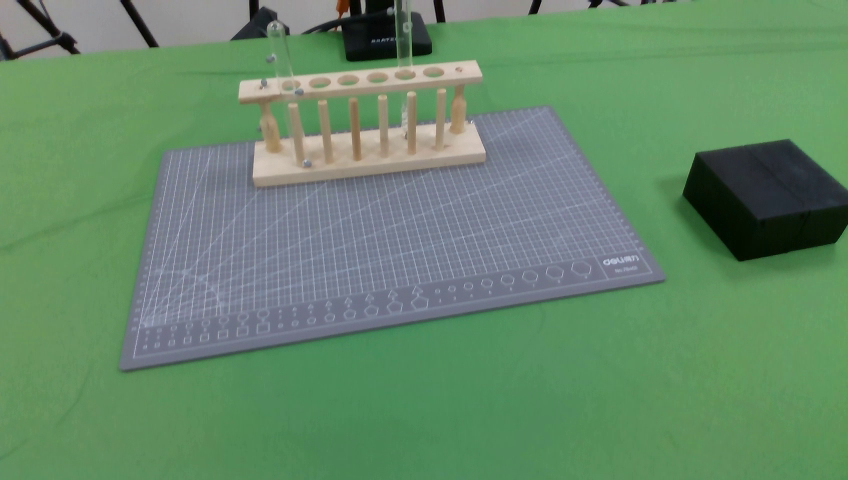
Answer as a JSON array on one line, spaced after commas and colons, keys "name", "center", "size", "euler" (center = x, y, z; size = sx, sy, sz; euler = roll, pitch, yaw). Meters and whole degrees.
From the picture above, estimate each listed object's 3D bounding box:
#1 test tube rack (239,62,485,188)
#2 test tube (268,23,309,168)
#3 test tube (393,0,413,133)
[{"name": "test tube rack", "center": [-0.060, -0.121, 0.631], "size": [0.243, 0.086, 0.066], "euler": [-7, 44, -6]}, {"name": "test tube", "center": [-0.128, -0.133, 0.579], "size": [0.017, 0.152, 0.017], "euler": [-1, 43, 1]}, {"name": "test tube", "center": [-0.020, -0.177, 0.616], "size": [0.017, 0.151, 0.017], "euler": [-1, 39, 1]}]
